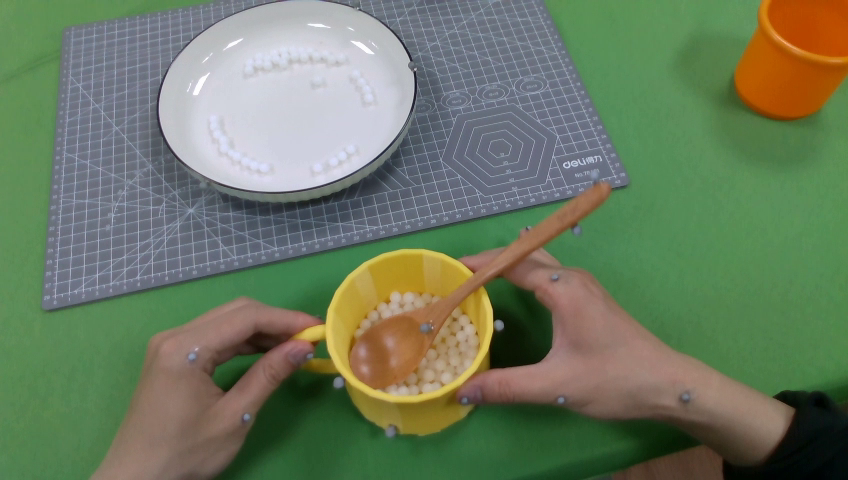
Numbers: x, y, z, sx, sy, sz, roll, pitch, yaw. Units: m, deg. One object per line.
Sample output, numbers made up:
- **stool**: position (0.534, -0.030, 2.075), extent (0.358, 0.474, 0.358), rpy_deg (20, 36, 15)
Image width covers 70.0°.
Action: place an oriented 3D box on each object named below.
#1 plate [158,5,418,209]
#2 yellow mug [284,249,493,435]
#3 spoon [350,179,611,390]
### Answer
- **plate**: position (-0.108, -0.109, 0.500), extent (0.208, 0.039, 0.206), rpy_deg (0, 60, 1)
- **yellow mug**: position (-0.022, 0.066, 0.380), extent (0.131, 0.064, 0.099), rpy_deg (-7, 56, 0)
- **spoon**: position (0.031, 0.028, 0.363), extent (0.194, 0.022, 0.041), rpy_deg (-40, 63, 16)
